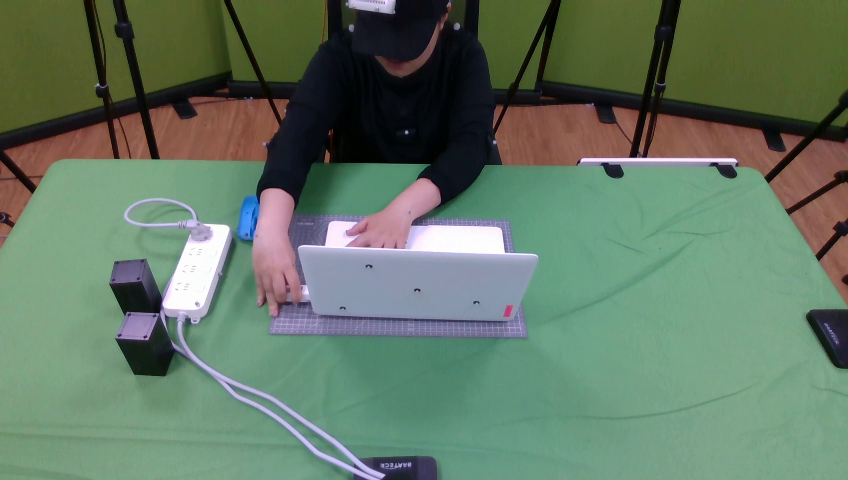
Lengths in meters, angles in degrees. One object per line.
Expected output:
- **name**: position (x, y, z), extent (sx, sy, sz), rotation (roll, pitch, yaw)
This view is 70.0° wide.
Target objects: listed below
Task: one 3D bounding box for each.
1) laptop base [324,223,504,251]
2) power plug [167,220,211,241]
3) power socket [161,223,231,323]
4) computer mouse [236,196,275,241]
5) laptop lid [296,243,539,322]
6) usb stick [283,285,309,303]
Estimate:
- **laptop base**: position (-0.019, 0.055, 1.144), extent (0.354, 0.023, 0.234), rotation (2, 41, -2)
- **power plug**: position (-0.439, -0.016, 1.143), extent (0.072, 0.053, 0.035), rotation (9, 43, 7)
- **power socket**: position (-0.412, 0.051, 1.107), extent (0.072, 0.033, 0.225), rotation (4, 46, -2)
- **computer mouse**: position (-0.335, -0.046, 1.208), extent (0.063, 0.041, 0.116), rotation (3, 47, -4)
- **laptop lid**: position (-0.013, 0.075, 0.962), extent (0.357, 0.243, 0.013), rotation (3, 58, -3)
- **usb stick**: position (-0.217, 0.096, 1.072), extent (0.059, 0.027, 0.021), rotation (5, 46, 3)
